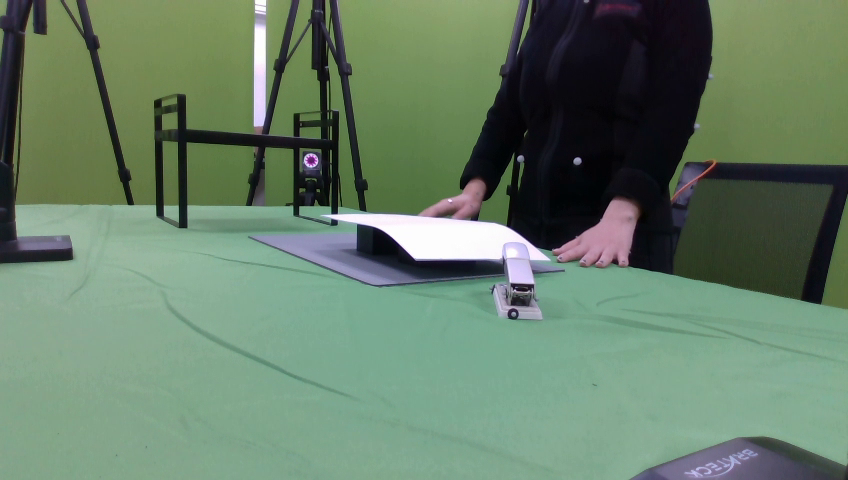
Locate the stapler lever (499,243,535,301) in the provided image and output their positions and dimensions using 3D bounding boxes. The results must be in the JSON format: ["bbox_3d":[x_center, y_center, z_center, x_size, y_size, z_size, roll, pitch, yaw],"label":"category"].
[{"bbox_3d":[0.093,0.030,0.608,0.027,0.040,0.118,0,9,3],"label":"stapler lever"}]

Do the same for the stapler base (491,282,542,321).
[{"bbox_3d":[0.092,0.054,0.613,0.041,0.024,0.130,0,9,3],"label":"stapler base"}]
